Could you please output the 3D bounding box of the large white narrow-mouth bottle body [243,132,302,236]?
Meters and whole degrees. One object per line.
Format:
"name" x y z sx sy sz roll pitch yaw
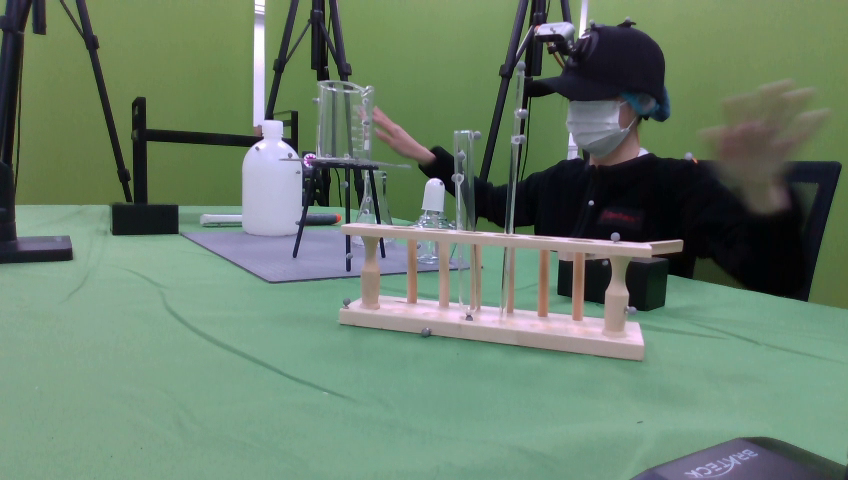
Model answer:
"large white narrow-mouth bottle body" -0.265 -0.109 1.061 0.102 0.194 0.102 2 8 0

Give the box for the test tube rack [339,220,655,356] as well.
"test tube rack" 0.056 0.032 0.495 0.242 0.085 0.067 4 7 15

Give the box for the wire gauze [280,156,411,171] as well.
"wire gauze" -0.103 -0.103 0.785 0.121 0.011 0.126 11 8 42

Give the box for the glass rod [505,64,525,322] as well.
"glass rod" 0.069 -0.030 0.458 0.008 0.199 0.008 1 15 0

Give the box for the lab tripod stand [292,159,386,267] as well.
"lab tripod stand" -0.105 -0.039 0.797 0.148 0.131 0.148 2 5 0

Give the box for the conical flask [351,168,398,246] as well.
"conical flask" -0.078 -0.053 0.962 0.075 0.122 0.075 2 7 0

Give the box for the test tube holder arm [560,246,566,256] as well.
"test tube holder arm" 0.173 0.007 0.611 0.088 0.015 0.010 -3 9 -30

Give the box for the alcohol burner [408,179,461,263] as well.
"alcohol burner" 0.014 -0.029 0.834 0.078 0.119 0.078 0 6 0

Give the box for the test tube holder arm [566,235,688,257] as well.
"test tube holder arm" 0.215 0.006 0.629 0.179 0.015 0.013 -3 9 -30

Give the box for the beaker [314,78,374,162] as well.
"beaker" -0.101 -0.151 0.775 0.074 0.100 0.083 -2 8 -39

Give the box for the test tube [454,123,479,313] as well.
"test tube" 0.034 -0.016 0.477 0.017 0.150 0.017 -2 9 1

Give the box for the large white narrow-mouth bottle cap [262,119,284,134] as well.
"large white narrow-mouth bottle cap" -0.262 -0.196 1.048 0.038 0.024 0.037 2 8 0

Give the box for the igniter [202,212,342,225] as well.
"igniter" -0.298 -0.044 1.216 0.278 0.025 0.057 -3 -2 -32

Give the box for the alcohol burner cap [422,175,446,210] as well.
"alcohol burner cap" 0.016 -0.065 0.830 0.034 0.048 0.034 7 4 0
